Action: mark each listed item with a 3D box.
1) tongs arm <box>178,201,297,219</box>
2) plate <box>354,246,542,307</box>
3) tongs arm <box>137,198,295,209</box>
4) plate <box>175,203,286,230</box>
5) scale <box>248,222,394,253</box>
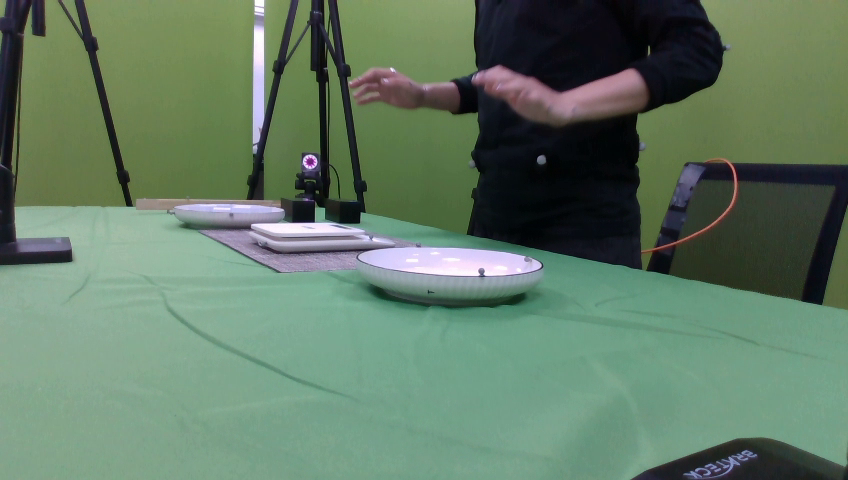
[{"bbox_3d":[-0.418,-0.073,1.419,0.028,0.028,0.389,3,6,28],"label":"tongs arm"},{"bbox_3d":[0.025,0.039,0.672,0.209,0.038,0.209,3,7,0],"label":"plate"},{"bbox_3d":[-0.489,-0.086,1.472,0.050,0.026,0.387,10,9,42],"label":"tongs arm"},{"bbox_3d":[-0.380,-0.047,1.199,0.208,0.039,0.207,3,7,0],"label":"plate"},{"bbox_3d":[-0.162,-0.006,0.954,0.202,0.031,0.148,-1,9,-32],"label":"scale"}]
